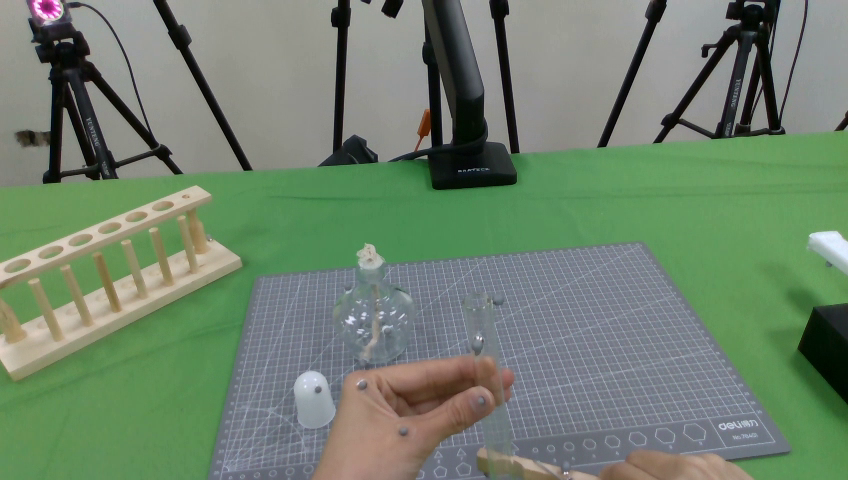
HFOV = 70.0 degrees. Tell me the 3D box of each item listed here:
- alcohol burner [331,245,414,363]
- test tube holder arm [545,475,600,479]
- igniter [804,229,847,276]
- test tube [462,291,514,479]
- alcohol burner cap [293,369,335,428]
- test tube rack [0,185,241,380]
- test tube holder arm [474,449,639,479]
[{"bbox_3d":[-0.048,0.053,0.549,0.078,0.120,0.077,-1,35,1],"label":"alcohol burner"},{"bbox_3d":[0.072,0.151,0.362,0.088,0.015,0.010,-9,36,5],"label":"test tube holder arm"},{"bbox_3d":[0.416,0.064,0.500,0.057,0.025,0.274,-6,30,-4],"label":"igniter"},{"bbox_3d":[0.038,0.095,0.347,0.017,0.151,0.017,-8,27,4],"label":"test tube"},{"bbox_3d":[-0.093,0.128,0.503,0.034,0.048,0.033,-1,34,1],"label":"alcohol burner cap"},{"bbox_3d":[-0.320,0.033,0.626,0.066,0.086,0.242,27,44,36],"label":"test tube rack"},{"bbox_3d":[0.116,0.146,0.355,0.177,0.015,0.013,3,40,21],"label":"test tube holder arm"}]
